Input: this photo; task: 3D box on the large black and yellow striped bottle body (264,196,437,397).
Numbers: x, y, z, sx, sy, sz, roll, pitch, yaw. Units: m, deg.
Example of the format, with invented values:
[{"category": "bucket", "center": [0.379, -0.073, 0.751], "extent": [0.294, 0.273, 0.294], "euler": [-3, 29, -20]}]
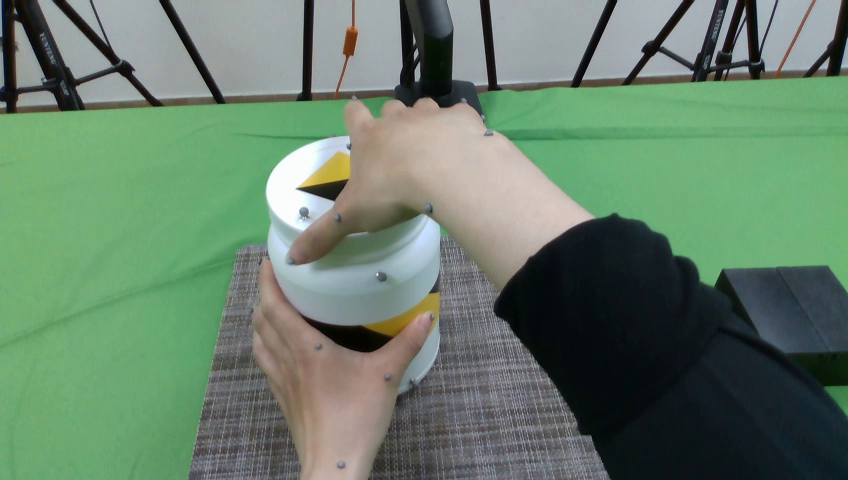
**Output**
[{"category": "large black and yellow striped bottle body", "center": [-0.055, 0.026, 0.491], "extent": [0.131, 0.185, 0.129], "euler": [0, 43, 1]}]

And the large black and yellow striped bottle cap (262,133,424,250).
[{"category": "large black and yellow striped bottle cap", "center": [-0.057, -0.038, 0.431], "extent": [0.115, 0.019, 0.114], "euler": [1, 44, 0]}]
